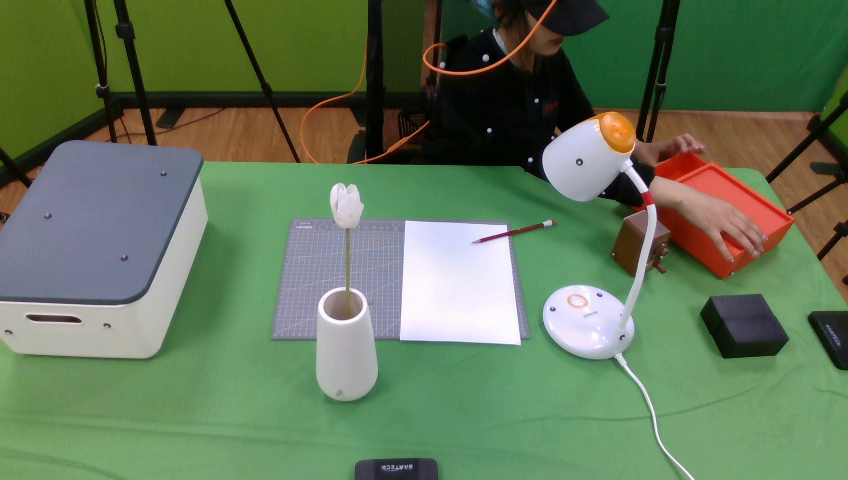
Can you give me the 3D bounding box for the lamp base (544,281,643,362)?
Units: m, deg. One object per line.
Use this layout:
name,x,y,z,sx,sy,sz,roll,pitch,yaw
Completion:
lamp base,0.303,0.095,1.014,0.161,0.181,0.178,-24,54,-24

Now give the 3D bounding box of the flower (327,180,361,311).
flower,-0.110,0.086,0.867,0.044,0.363,0.038,22,33,35

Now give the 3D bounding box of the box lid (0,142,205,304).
box lid,-0.534,-0.044,0.995,0.263,0.015,0.369,3,45,-3

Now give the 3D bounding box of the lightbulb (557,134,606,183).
lightbulb,0.242,-0.127,0.916,0.059,0.108,0.059,5,67,-12

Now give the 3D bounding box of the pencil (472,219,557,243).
pencil,0.186,-0.017,1.233,0.194,0.012,0.012,-14,49,-17

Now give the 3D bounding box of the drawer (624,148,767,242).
drawer,0.568,-0.084,1.278,0.194,0.073,0.210,-25,54,-26

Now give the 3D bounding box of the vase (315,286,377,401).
vase,-0.119,0.159,0.911,0.098,0.201,0.097,2,47,-2

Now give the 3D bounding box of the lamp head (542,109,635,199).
lamp head,0.253,-0.131,0.893,0.113,0.123,0.112,10,66,-24

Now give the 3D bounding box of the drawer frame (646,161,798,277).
drawer frame,0.602,-0.051,1.243,0.202,0.083,0.212,-24,53,-26

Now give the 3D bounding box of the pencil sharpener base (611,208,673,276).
pencil sharpener base,0.416,0.007,1.158,0.061,0.107,0.076,-21,51,-22

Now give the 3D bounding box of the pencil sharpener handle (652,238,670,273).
pencil sharpener handle,0.443,0.030,1.120,0.036,0.068,0.030,-25,52,-17

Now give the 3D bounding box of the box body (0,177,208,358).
box body,-0.546,0.017,1.045,0.254,0.161,0.361,2,46,-2
